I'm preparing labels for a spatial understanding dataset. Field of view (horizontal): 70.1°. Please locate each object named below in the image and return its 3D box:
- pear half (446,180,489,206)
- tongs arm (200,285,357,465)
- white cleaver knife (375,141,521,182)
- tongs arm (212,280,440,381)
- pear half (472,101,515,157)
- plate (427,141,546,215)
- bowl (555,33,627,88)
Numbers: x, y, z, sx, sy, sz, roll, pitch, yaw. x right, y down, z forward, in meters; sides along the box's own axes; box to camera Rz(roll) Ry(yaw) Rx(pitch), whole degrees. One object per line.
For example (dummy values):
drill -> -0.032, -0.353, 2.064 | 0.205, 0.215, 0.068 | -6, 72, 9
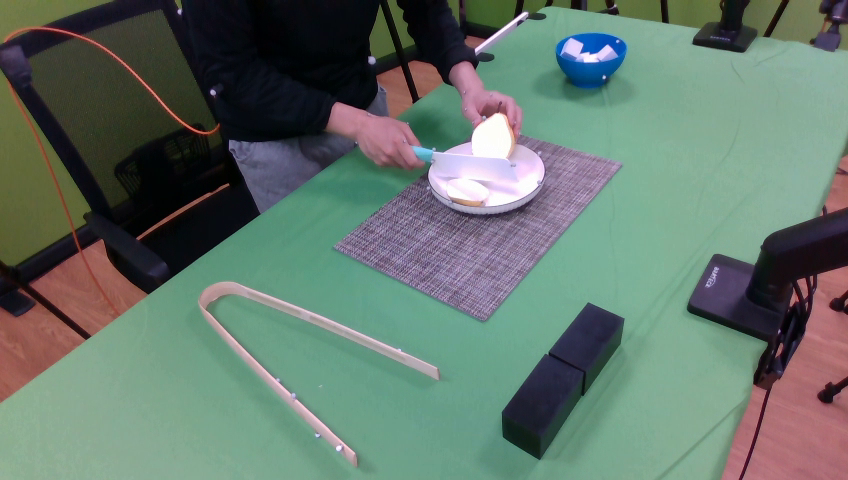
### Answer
pear half -> 0.068, -0.073, 1.017 | 0.070, 0.031, 0.088 | 28, 34, 34
tongs arm -> -0.199, 0.162, 0.797 | 0.381, 0.026, 0.051 | 28, 50, 35
white cleaver knife -> 0.032, -0.131, 1.035 | 0.284, 0.066, 0.021 | 13, 56, 33
tongs arm -> -0.147, 0.121, 0.845 | 0.385, 0.028, 0.028 | 17, 48, 26
pear half -> 0.127, -0.189, 1.056 | 0.076, 0.110, 0.056 | 17, 21, 10
plate -> 0.109, -0.107, 1.058 | 0.207, 0.039, 0.206 | -4, 41, 4
bowl -> 0.360, -0.384, 1.318 | 0.151, 0.077, 0.150 | -4, 41, 4
